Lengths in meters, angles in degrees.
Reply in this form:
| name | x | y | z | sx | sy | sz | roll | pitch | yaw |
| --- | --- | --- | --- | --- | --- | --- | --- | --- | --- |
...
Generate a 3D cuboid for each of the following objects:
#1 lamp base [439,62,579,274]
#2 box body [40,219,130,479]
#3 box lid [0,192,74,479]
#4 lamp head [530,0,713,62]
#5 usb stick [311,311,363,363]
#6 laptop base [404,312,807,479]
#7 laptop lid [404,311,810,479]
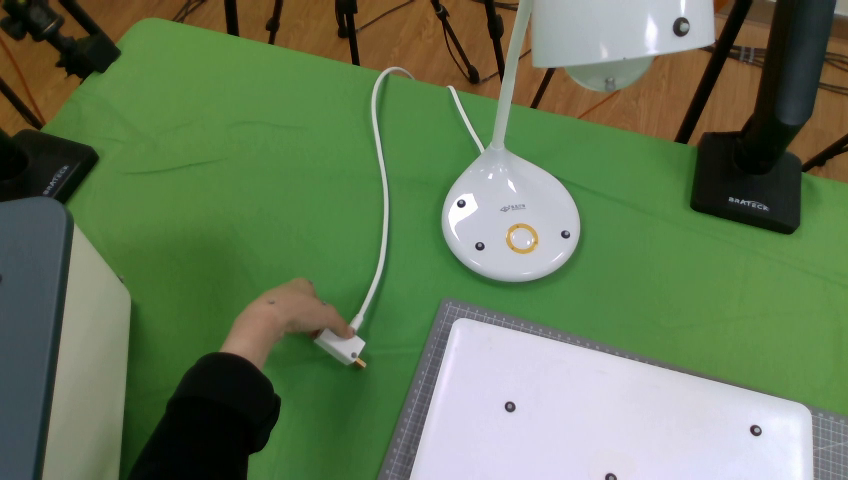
| name | x | y | z | sx | sy | sz | roll | pitch | yaw |
| --- | --- | --- | --- | --- | --- | --- | --- | --- | --- |
| lamp base | 0.091 | -0.081 | 0.638 | 0.161 | 0.182 | 0.177 | -19 | 59 | -10 |
| box body | -0.410 | 0.168 | 0.508 | 0.254 | 0.161 | 0.360 | -9 | 60 | -5 |
| box lid | -0.410 | 0.129 | 0.446 | 0.263 | 0.015 | 0.368 | -9 | 61 | -5 |
| lamp head | 0.114 | -0.176 | 0.371 | 0.112 | 0.112 | 0.123 | -12 | 104 | -6 |
| usb stick | -0.084 | 0.101 | 0.617 | 0.059 | 0.021 | 0.027 | 45 | 51 | -13 |
| laptop base | 0.167 | 0.214 | 0.561 | 0.353 | 0.023 | 0.234 | 13 | 64 | 8 |
| laptop lid | 0.166 | 0.209 | 0.550 | 0.356 | 0.013 | 0.240 | 15 | 64 | 9 |
